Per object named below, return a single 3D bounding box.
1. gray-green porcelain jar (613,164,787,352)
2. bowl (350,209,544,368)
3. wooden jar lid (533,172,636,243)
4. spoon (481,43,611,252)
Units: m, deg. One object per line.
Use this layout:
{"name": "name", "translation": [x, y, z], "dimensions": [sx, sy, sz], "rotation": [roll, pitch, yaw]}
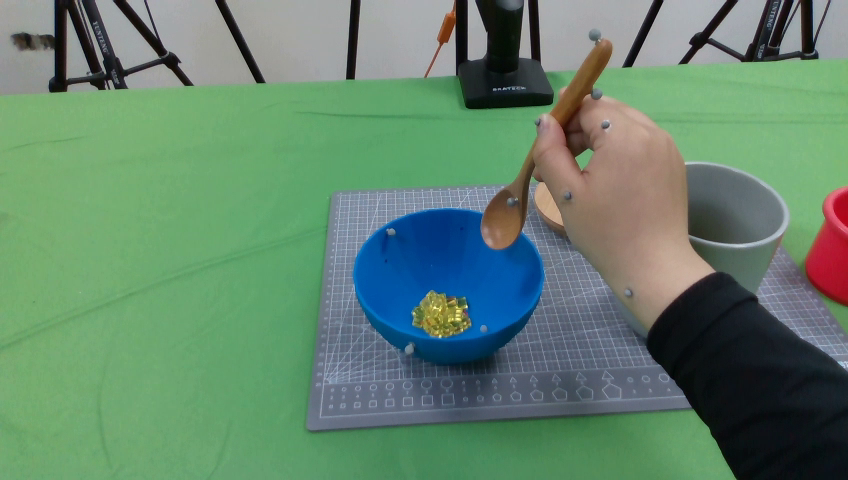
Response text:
{"name": "gray-green porcelain jar", "translation": [0.214, 0.020, 0.491], "dimensions": [0.106, 0.127, 0.105], "rotation": [-1, 41, 1]}
{"name": "bowl", "translation": [0.019, 0.051, 0.496], "dimensions": [0.151, 0.077, 0.150], "rotation": [-1, 41, 1]}
{"name": "wooden jar lid", "translation": [0.168, -0.033, 0.634], "dimensions": [0.108, 0.021, 0.107], "rotation": [-1, 40, 1]}
{"name": "spoon", "translation": [0.073, -0.050, 0.398], "dimensions": [0.022, 0.195, 0.041], "rotation": [-11, 63, -18]}
